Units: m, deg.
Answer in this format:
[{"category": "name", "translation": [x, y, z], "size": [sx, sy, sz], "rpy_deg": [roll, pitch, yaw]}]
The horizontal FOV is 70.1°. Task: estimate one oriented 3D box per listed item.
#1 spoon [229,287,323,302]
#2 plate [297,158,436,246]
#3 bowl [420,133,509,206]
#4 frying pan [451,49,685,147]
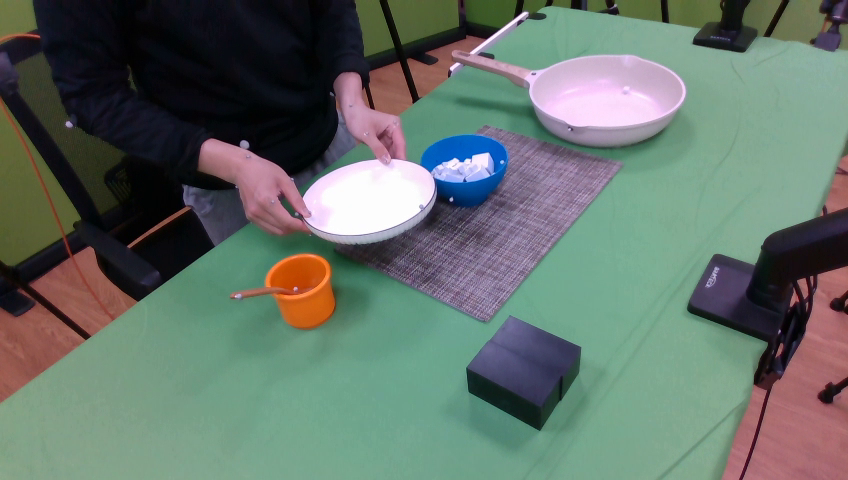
[{"category": "spoon", "translation": [-0.198, 0.071, 0.816], "size": [0.041, 0.195, 0.021], "rpy_deg": [13, 88, 23]}, {"category": "plate", "translation": [-0.083, -0.054, 0.908], "size": [0.207, 0.039, 0.206], "rpy_deg": [-6, 37, 5]}, {"category": "bowl", "translation": [0.071, -0.112, 1.038], "size": [0.151, 0.077, 0.150], "rpy_deg": [-4, 41, 4]}, {"category": "frying pan", "translation": [0.269, -0.316, 1.233], "size": [0.485, 0.103, 0.307], "rpy_deg": [26, 49, 21]}]
